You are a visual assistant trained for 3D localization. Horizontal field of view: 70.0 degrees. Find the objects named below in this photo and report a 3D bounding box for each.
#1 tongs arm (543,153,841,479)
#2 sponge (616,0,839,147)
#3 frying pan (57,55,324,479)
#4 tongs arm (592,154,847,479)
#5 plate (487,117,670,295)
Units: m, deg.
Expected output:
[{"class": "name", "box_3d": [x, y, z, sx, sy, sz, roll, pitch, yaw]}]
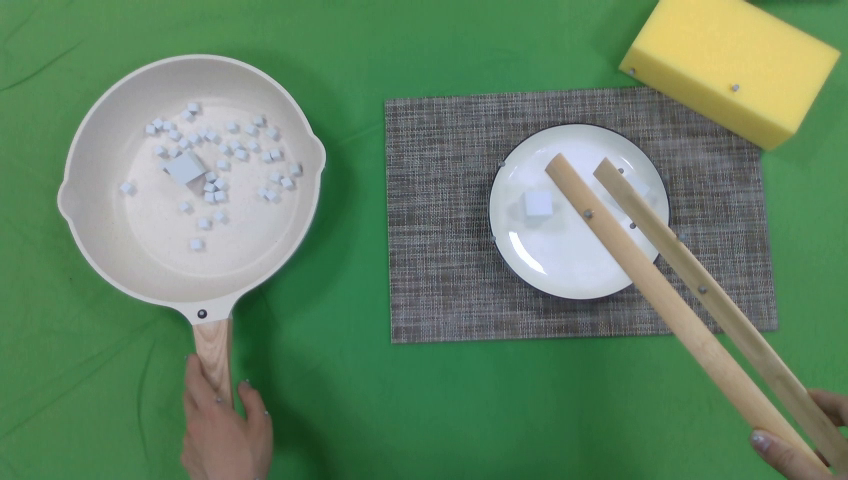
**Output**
[{"class": "tongs arm", "box_3d": [0.221, 0.066, 0.509, 0.384, 0.028, 0.028, 56, 129, 25]}, {"class": "sponge", "box_3d": [0.354, -0.216, 0.717, 0.206, 0.061, 0.118, 31, 82, 7]}, {"class": "frying pan", "box_3d": [-0.245, 0.031, 0.683, 0.307, 0.103, 0.484, -10, 74, 1]}, {"class": "tongs arm", "box_3d": [0.257, 0.062, 0.538, 0.051, 0.026, 0.381, -6, 53, -41]}, {"class": "plate", "box_3d": [0.176, -0.039, 0.709, 0.207, 0.039, 0.207, 0, 82, 2]}]
